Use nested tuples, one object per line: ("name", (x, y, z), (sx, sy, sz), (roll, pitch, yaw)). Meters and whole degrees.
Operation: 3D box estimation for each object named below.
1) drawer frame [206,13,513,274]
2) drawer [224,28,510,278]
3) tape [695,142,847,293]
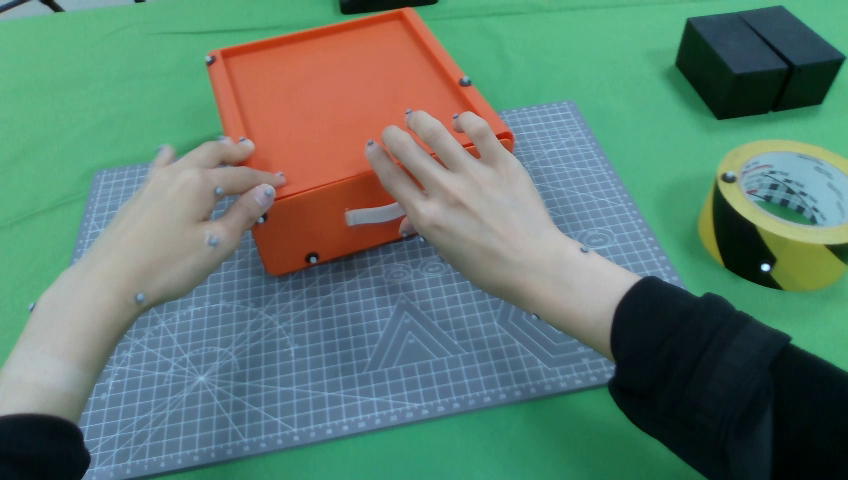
("drawer frame", (-0.062, -0.092, 0.511), (0.202, 0.083, 0.211), (-18, 48, -13))
("drawer", (-0.060, -0.087, 0.509), (0.195, 0.074, 0.209), (-18, 48, -11))
("tape", (0.266, -0.020, 0.451), (0.117, 0.053, 0.115), (-1, 47, 2))
